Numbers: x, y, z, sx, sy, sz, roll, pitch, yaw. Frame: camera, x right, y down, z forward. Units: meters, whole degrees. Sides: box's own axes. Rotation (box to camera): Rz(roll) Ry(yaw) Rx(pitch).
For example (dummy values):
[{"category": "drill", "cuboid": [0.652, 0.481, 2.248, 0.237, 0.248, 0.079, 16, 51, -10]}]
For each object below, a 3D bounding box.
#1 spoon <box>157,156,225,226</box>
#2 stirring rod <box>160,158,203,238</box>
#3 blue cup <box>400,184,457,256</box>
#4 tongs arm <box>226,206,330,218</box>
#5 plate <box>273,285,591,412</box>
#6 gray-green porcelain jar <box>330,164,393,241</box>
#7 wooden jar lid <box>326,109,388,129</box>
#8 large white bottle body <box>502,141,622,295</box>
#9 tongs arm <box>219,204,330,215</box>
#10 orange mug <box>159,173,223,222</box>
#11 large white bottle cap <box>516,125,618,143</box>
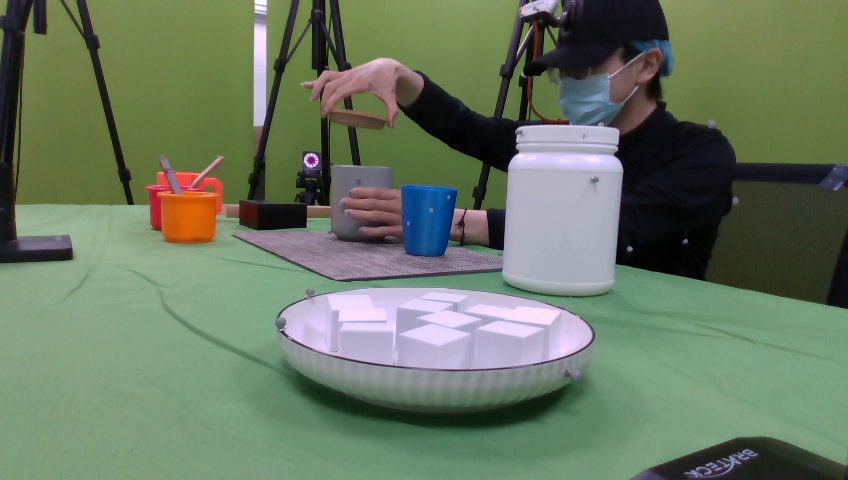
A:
[{"category": "spoon", "cuboid": [-0.425, -0.094, 1.117, 0.041, 0.022, 0.194, 4, 51, 29]}, {"category": "stirring rod", "cuboid": [-0.391, -0.070, 0.972, 0.014, 0.006, 0.175, -1, 50, -49]}, {"category": "blue cup", "cuboid": [0.003, -0.030, 0.901, 0.093, 0.100, 0.092, 4, 8, 0]}, {"category": "tongs arm", "cuboid": [-0.251, -0.062, 1.360, 0.387, 0.026, 0.050, -1, 3, -31]}, {"category": "plate", "cuboid": [0.005, 0.069, 0.408, 0.208, 0.039, 0.207, 2, 7, 0]}, {"category": "gray-green porcelain jar", "cuboid": [-0.109, -0.065, 1.042, 0.106, 0.126, 0.106, 3, 8, 0]}, {"category": "wooden jar lid", "cuboid": [-0.116, -0.209, 1.044, 0.108, 0.020, 0.108, 6, 6, 0]}, {"category": "large white bottle body", "cuboid": [0.161, -0.037, 0.706, 0.131, 0.184, 0.130, 2, 7, 0]}, {"category": "tongs arm", "cuboid": [-0.288, -0.069, 1.435, 0.389, 0.027, 0.028, 0, -1, -17]}, {"category": "orange mug", "cuboid": [-0.477, -0.089, 1.241, 0.127, 0.101, 0.083, -8, 12, -33]}, {"category": "large white bottle cap", "cuboid": [0.164, -0.120, 0.695, 0.115, 0.018, 0.115, 2, 7, 0]}]
